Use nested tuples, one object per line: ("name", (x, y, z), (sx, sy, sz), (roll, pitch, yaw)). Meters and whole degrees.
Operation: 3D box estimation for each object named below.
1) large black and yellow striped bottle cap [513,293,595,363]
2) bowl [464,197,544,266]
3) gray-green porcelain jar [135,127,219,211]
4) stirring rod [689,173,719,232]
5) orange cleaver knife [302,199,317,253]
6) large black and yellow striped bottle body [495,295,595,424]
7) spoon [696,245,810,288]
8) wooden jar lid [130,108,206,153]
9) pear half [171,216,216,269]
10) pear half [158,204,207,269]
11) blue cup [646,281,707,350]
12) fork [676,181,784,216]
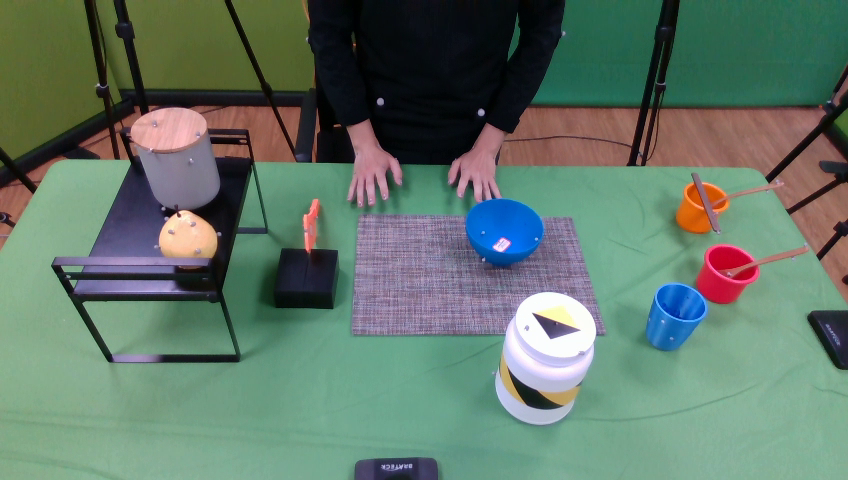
("large black and yellow striped bottle cap", (0.186, 0.123, 0.863), (0.115, 0.019, 0.114), (3, 45, -3))
("bowl", (0.149, -0.004, 1.168), (0.151, 0.077, 0.150), (2, 46, -2))
("gray-green porcelain jar", (-0.386, -0.118, 0.959), (0.106, 0.127, 0.105), (2, 46, -2))
("stirring rod", (0.565, -0.080, 1.225), (0.014, 0.006, 0.175), (3, 46, 1))
("orange cleaver knife", (-0.219, -0.031, 1.168), (0.012, 0.077, 0.210), (-5, 17, -3))
("large black and yellow striped bottle body", (0.183, 0.182, 0.923), (0.131, 0.185, 0.130), (2, 46, -2))
("spoon", (0.601, 0.047, 1.114), (0.193, 0.022, 0.041), (-27, 36, 33))
("wooden jar lid", (-0.384, -0.162, 0.914), (0.108, 0.021, 0.107), (4, 46, -4))
("pear half", (-0.323, 0.007, 0.867), (0.031, 0.088, 0.070), (25, 46, 20))
("pear half", (-0.352, -0.015, 0.873), (0.056, 0.110, 0.076), (25, 45, 19))
("blue cup", (0.425, 0.136, 1.042), (0.092, 0.101, 0.092), (1, 44, -1))
("fork", (0.618, -0.084, 1.235), (0.207, 0.019, 0.028), (-23, 21, 38))
